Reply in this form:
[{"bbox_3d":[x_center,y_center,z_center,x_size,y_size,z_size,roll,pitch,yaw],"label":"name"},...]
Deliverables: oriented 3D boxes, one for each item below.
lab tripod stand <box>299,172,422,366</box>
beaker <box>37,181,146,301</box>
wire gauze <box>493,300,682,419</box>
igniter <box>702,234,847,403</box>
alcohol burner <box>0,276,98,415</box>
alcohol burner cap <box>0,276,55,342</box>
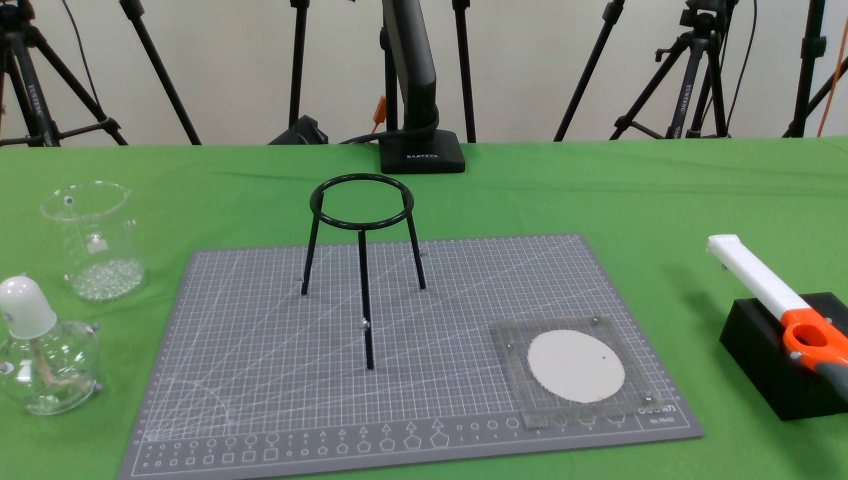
[{"bbox_3d":[-0.055,0.018,0.554,0.148,0.132,0.147,3,35,-2],"label":"lab tripod stand"},{"bbox_3d":[-0.318,0.002,0.596,0.073,0.101,0.084,29,41,32],"label":"beaker"},{"bbox_3d":[0.141,0.101,0.530,0.125,0.011,0.120,-10,33,-28],"label":"wire gauze"},{"bbox_3d":[0.320,0.071,0.516,0.057,0.025,0.273,-3,32,-6],"label":"igniter"},{"bbox_3d":[-0.301,0.078,0.471,0.078,0.120,0.077,3,32,-1],"label":"alcohol burner"},{"bbox_3d":[-0.301,0.049,0.451,0.034,0.048,0.033,3,38,-2],"label":"alcohol burner cap"}]
